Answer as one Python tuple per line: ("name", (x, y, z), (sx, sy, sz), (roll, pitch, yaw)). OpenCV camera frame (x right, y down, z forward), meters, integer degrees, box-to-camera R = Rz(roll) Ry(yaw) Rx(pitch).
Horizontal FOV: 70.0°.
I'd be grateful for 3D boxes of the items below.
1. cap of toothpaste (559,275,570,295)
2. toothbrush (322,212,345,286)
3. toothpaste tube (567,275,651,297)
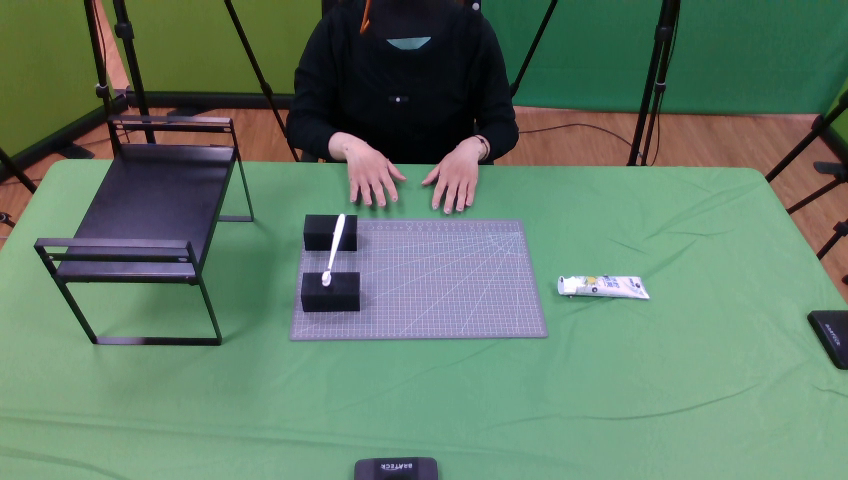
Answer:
("cap of toothpaste", (0.261, 0.083, 1.120), (0.011, 0.037, 0.037), (0, 47, -9))
("toothbrush", (-0.164, 0.011, 1.101), (0.014, 0.017, 0.181), (-6, 44, 12))
("toothpaste tube", (0.339, 0.085, 1.132), (0.165, 0.035, 0.054), (0, 50, -9))
